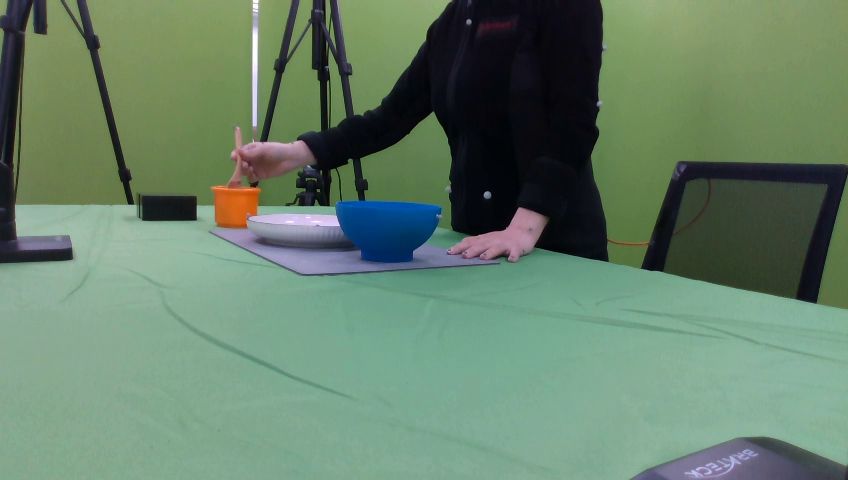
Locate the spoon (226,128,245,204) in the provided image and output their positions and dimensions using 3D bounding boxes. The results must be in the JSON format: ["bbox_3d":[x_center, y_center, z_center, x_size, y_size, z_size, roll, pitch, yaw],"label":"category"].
[{"bbox_3d":[-0.372,-0.150,1.206,0.021,0.193,0.042,-28,-36,34],"label":"spoon"}]

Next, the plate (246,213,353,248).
[{"bbox_3d":[-0.185,-0.017,0.995,0.209,0.038,0.209,3,8,0],"label":"plate"}]

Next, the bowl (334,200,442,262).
[{"bbox_3d":[-0.051,-0.012,0.847,0.151,0.077,0.151,3,7,0],"label":"bowl"}]
